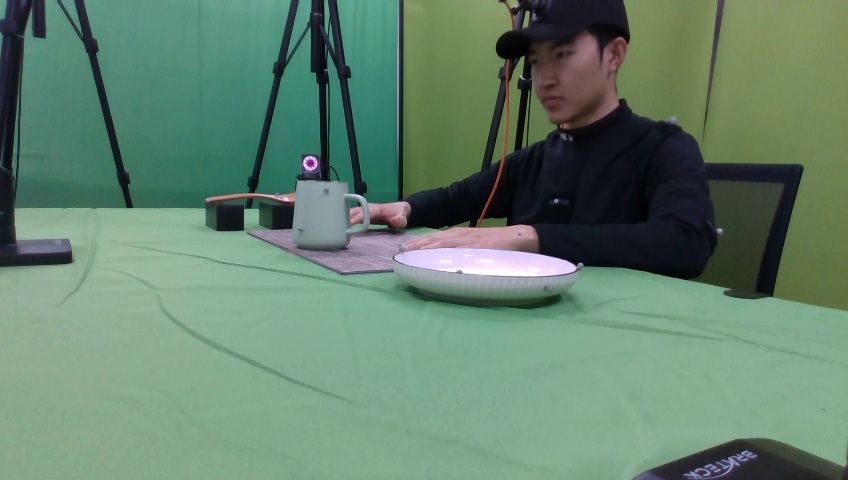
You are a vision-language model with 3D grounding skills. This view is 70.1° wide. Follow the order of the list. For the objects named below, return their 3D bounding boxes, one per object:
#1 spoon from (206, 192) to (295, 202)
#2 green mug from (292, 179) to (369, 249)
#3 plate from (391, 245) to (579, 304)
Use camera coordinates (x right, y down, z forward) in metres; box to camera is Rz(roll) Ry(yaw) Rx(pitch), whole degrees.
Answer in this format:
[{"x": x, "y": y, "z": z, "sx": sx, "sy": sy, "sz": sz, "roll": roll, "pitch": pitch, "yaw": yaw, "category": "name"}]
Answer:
[{"x": -0.335, "y": -0.087, "z": 1.214, "sx": 0.195, "sy": 0.021, "sz": 0.041, "roll": -2, "pitch": 25, "yaw": -28, "category": "spoon"}, {"x": -0.144, "y": -0.040, "z": 0.944, "sx": 0.125, "sy": 0.105, "sz": 0.093, "roll": 4, "pitch": 7, "yaw": 16, "category": "green mug"}, {"x": 0.066, "y": 0.038, "z": 0.683, "sx": 0.209, "sy": 0.038, "sz": 0.209, "roll": 2, "pitch": 7, "yaw": 0, "category": "plate"}]
